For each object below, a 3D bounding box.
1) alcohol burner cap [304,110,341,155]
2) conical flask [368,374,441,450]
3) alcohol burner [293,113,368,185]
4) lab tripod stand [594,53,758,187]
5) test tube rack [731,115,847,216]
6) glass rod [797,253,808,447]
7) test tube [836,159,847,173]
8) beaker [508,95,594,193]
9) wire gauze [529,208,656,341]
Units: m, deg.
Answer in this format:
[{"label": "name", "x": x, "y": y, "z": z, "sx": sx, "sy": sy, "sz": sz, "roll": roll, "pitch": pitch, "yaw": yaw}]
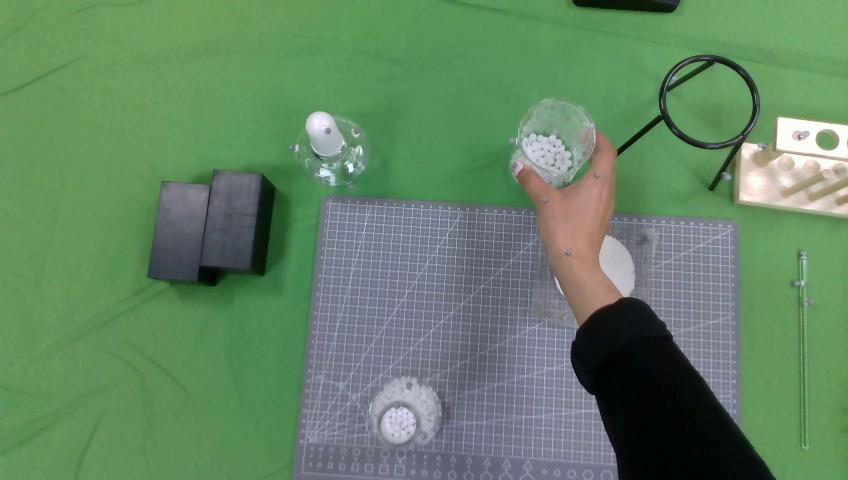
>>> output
[{"label": "alcohol burner cap", "x": -0.099, "y": -0.106, "z": 0.581, "sx": 0.034, "sy": 0.048, "sz": 0.033, "roll": 0, "pitch": 74, "yaw": 0}, {"label": "conical flask", "x": -0.021, "y": 0.164, "z": 0.563, "sx": 0.075, "sy": 0.122, "sz": 0.075, "roll": 0, "pitch": 80, "yaw": 1}, {"label": "alcohol burner", "x": -0.098, "y": -0.098, "z": 0.616, "sx": 0.078, "sy": 0.119, "sz": 0.077, "roll": 0, "pitch": 81, "yaw": 3}, {"label": "lab tripod stand", "x": 0.253, "y": -0.113, "z": 0.605, "sx": 0.148, "sy": 0.132, "sz": 0.148, "roll": 0, "pitch": 82, "yaw": 2}, {"label": "test tube rack", "x": 0.456, "y": -0.066, "z": 0.618, "sx": 0.242, "sy": 0.085, "sz": 0.066, "roll": 7, "pitch": 80, "yaw": 2}, {"label": "glass rod", "x": 0.392, "y": 0.111, "z": 0.628, "sx": 0.008, "sy": 0.008, "sz": 0.199, "roll": 5, "pitch": 80, "yaw": 1}, {"label": "test tube", "x": 0.440, "y": -0.091, "z": 0.573, "sx": 0.017, "sy": 0.151, "sz": 0.017, "roll": -1, "pitch": 79, "yaw": 4}, {"label": "beaker", "x": 0.125, "y": -0.090, "z": 0.619, "sx": 0.074, "sy": 0.100, "sz": 0.083, "roll": -15, "pitch": 81, "yaw": -1}, {"label": "wire gauze", "x": 0.179, "y": 0.035, "z": 0.641, "sx": 0.125, "sy": 0.011, "sz": 0.121, "roll": 12, "pitch": 80, "yaw": 0}]
